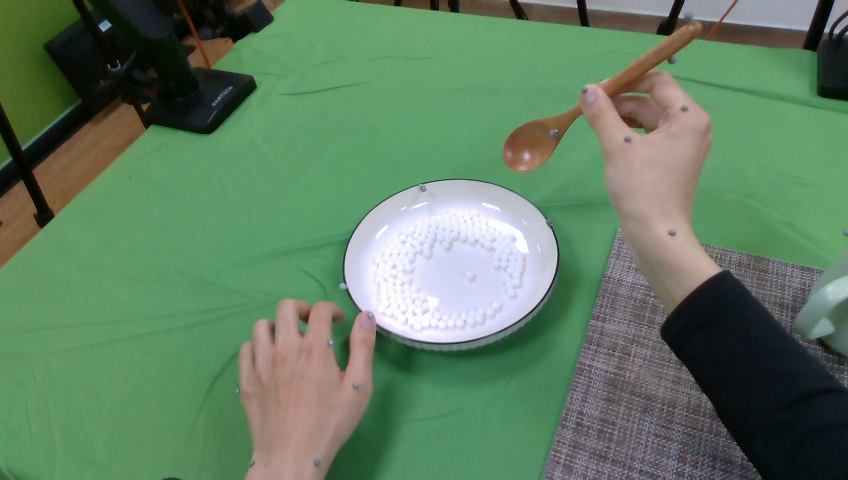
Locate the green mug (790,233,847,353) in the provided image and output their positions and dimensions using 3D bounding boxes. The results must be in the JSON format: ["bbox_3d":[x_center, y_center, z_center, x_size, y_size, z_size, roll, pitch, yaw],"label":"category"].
[{"bbox_3d":[0.349,0.041,0.477,0.125,0.106,0.091,-19,49,-8],"label":"green mug"}]

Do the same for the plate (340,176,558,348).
[{"bbox_3d":[0.025,0.020,0.591,0.209,0.038,0.207,-4,48,5],"label":"plate"}]

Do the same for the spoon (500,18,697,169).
[{"bbox_3d":[0.132,-0.113,0.490,0.022,0.193,0.041,-23,84,-41],"label":"spoon"}]
